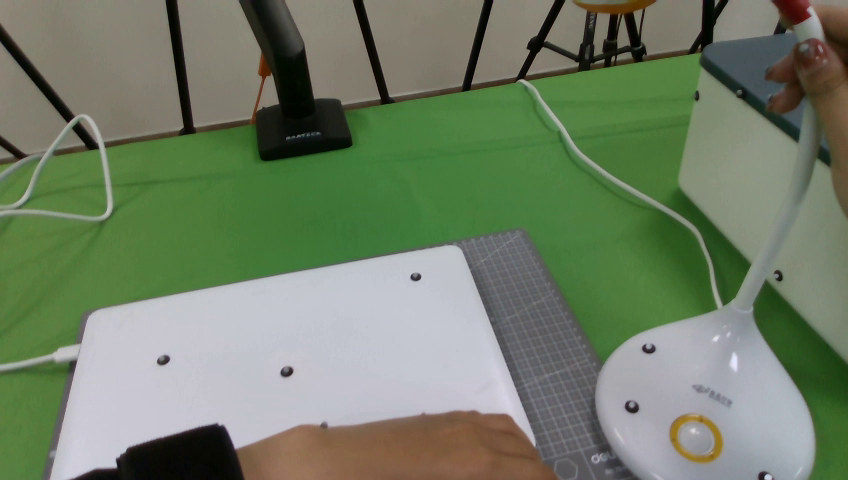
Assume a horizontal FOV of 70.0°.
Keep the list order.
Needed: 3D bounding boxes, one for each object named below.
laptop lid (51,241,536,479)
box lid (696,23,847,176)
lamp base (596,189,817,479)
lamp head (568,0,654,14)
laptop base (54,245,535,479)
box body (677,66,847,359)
[{"bbox_3d":[-0.110,0.108,0.500,0.357,0.013,0.239,-9,44,-7],"label":"laptop lid"},{"bbox_3d":[0.432,-0.099,0.500,0.264,0.015,0.367,-11,42,-10],"label":"box lid"},{"bbox_3d":[0.217,0.064,0.426,0.160,0.182,0.178,16,42,19],"label":"lamp base"},{"bbox_3d":[0.113,-0.190,0.330,0.112,0.124,0.111,-8,43,8],"label":"lamp head"},{"bbox_3d":[-0.110,0.115,0.510,0.355,0.023,0.233,-10,45,-8],"label":"laptop base"},{"bbox_3d":[0.436,-0.041,0.548,0.254,0.162,0.360,-12,42,-10],"label":"box body"}]
